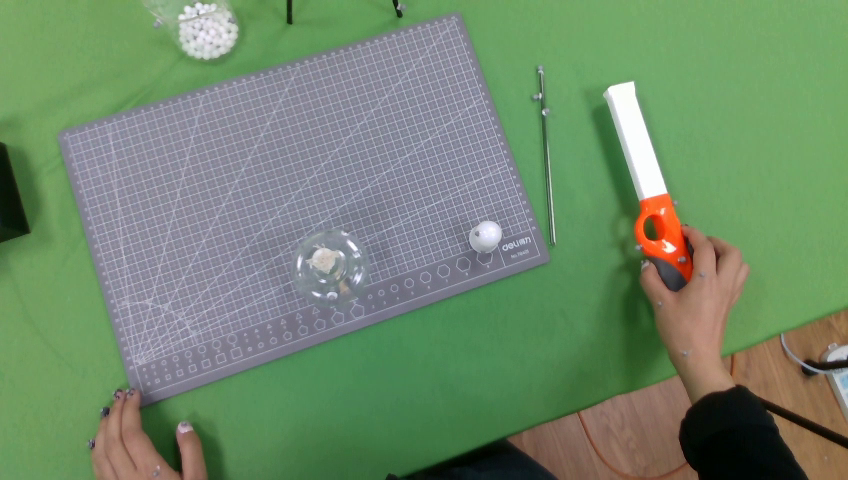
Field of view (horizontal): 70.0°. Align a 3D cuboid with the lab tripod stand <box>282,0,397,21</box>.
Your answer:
[{"bbox_3d":[-0.095,-0.296,0.612,0.148,0.132,0.148,0,82,-2],"label":"lab tripod stand"}]

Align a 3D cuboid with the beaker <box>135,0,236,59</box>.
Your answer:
[{"bbox_3d":[-0.234,-0.233,0.612,0.084,0.100,0.074,27,82,-1],"label":"beaker"}]

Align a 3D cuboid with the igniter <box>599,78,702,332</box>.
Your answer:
[{"bbox_3d":[0.241,-0.039,0.646,0.057,0.025,0.275,-14,84,-9],"label":"igniter"}]

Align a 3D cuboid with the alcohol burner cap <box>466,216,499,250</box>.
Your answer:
[{"bbox_3d":[0.062,-0.008,0.631,0.034,0.048,0.033,0,82,-3],"label":"alcohol burner cap"}]

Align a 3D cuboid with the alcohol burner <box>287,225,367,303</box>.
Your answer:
[{"bbox_3d":[-0.094,0.020,0.582,0.078,0.119,0.077,1,80,-3],"label":"alcohol burner"}]

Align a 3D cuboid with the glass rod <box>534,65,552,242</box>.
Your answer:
[{"bbox_3d":[0.130,-0.097,0.667,0.008,0.008,0.199,-2,84,-4],"label":"glass rod"}]
